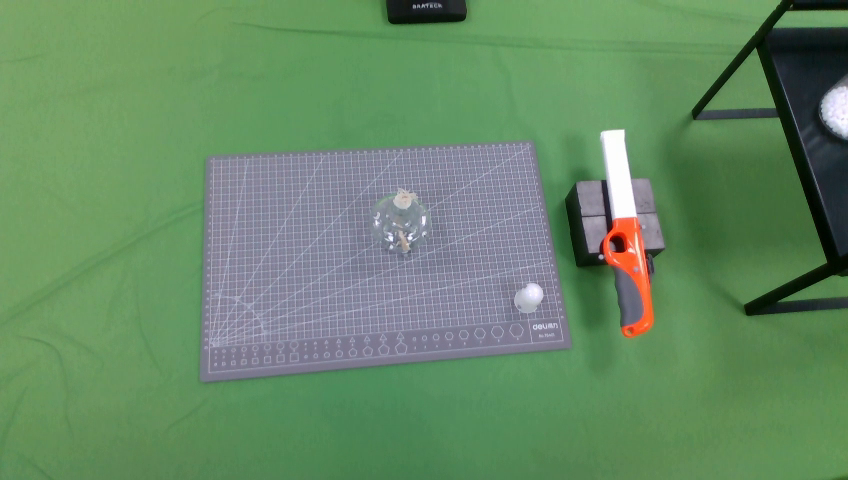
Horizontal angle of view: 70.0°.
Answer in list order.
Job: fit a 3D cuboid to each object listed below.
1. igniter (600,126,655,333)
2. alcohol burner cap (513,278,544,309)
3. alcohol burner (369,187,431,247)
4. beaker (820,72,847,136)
[{"bbox_3d":[0.251,-0.020,0.759,0.057,0.025,0.274,-3,69,6],"label":"igniter"},{"bbox_3d":[0.132,0.065,0.757,0.034,0.048,0.033,2,69,-4],"label":"alcohol burner cap"},{"bbox_3d":[-0.028,-0.036,0.742,0.078,0.119,0.077,2,69,-6],"label":"alcohol burner"},{"bbox_3d":[0.488,-0.162,0.652,0.084,0.101,0.073,-17,71,-10],"label":"beaker"}]
